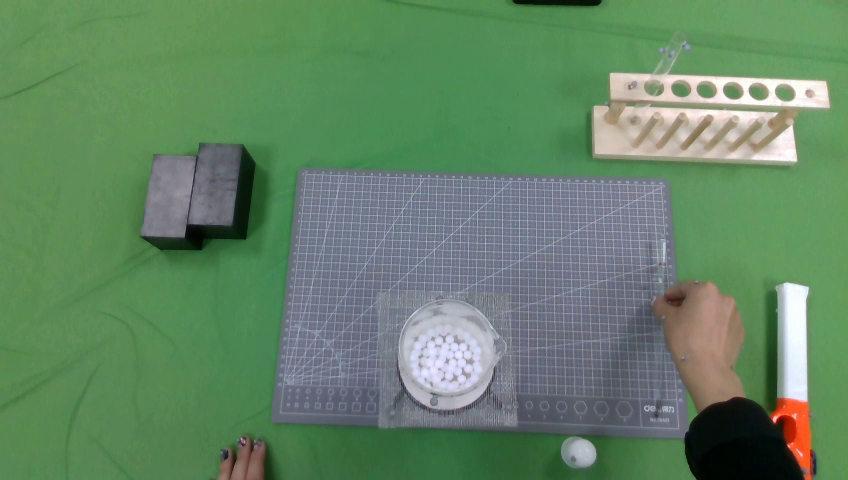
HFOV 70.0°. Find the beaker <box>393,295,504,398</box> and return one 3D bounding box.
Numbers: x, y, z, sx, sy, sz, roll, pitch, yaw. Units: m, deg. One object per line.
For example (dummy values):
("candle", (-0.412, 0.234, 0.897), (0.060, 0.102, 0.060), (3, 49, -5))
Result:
("beaker", (0.019, 0.092, 0.500), (0.084, 0.101, 0.073), (-2, 73, 0))

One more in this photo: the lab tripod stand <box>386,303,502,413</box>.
("lab tripod stand", (0.018, 0.124, 0.609), (0.148, 0.132, 0.147), (-1, 73, 2))

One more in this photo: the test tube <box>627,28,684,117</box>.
("test tube", (0.253, -0.180, 0.672), (0.017, 0.151, 0.017), (0, 70, 2))

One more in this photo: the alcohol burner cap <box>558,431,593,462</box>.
("alcohol burner cap", (0.161, 0.216, 0.633), (0.034, 0.048, 0.033), (0, 72, 2))

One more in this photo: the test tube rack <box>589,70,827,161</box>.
("test tube rack", (0.326, -0.144, 0.712), (0.242, 0.085, 0.066), (2, 73, 1))

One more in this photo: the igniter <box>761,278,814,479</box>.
("igniter", (0.389, 0.176, 0.650), (0.057, 0.025, 0.275), (11, 74, -7))

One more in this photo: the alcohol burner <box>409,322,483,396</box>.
("alcohol burner", (0.024, 0.120, 0.621), (0.078, 0.120, 0.077), (0, 72, -1))

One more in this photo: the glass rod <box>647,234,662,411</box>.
("glass rod", (0.258, 0.089, 0.678), (0.008, 0.008, 0.199), (7, 79, 2))

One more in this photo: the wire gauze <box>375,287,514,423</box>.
("wire gauze", (0.017, 0.102, 0.547), (0.125, 0.011, 0.120), (-1, 72, 2))
